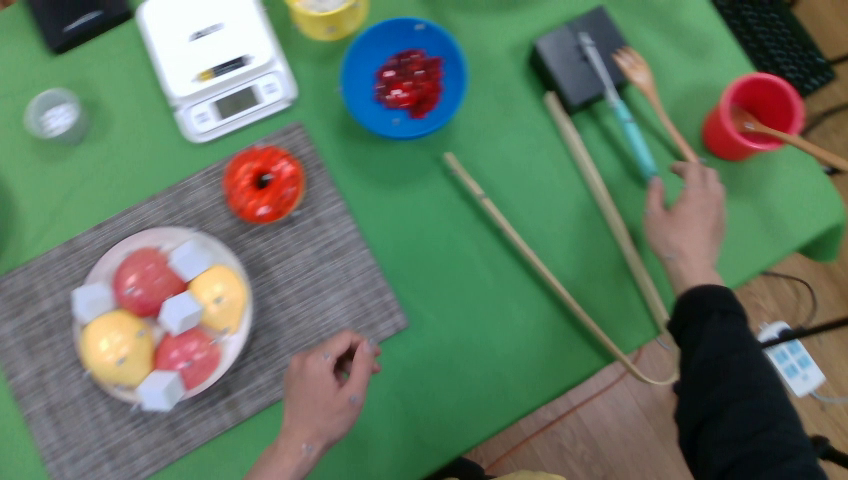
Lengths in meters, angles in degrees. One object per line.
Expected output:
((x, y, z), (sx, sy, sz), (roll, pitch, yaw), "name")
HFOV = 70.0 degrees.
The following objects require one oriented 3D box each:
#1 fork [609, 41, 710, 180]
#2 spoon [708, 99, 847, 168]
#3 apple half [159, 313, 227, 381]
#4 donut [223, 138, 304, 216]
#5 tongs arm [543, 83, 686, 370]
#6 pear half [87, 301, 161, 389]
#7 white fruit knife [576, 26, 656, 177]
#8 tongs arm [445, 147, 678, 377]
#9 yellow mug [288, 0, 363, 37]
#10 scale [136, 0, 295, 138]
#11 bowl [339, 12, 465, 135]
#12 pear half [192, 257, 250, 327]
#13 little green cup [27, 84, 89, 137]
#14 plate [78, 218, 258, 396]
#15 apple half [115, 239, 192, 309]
((0.299, -0.160, 0.759), (0.028, 0.018, 0.208), (-38, 99, -9), "fork")
((0.417, -0.127, 0.715), (0.041, 0.022, 0.191), (-34, 39, -6), "spoon")
((-0.277, 0.125, 0.708), (0.081, 0.033, 0.081), (0, 75, 2), "apple half")
((-0.197, -0.077, 0.746), (0.099, 0.048, 0.099), (0, 83, 1), "donut")
((0.235, -0.023, 0.755), (0.028, 0.028, 0.386), (-23, 83, -11), "tongs arm")
((-0.338, 0.124, 0.695), (0.076, 0.056, 0.109), (-35, 87, -14), "pear half")
((0.237, -0.170, 0.752), (0.016, 0.027, 0.208), (-31, 97, -5), "white fruit knife")
((0.165, 0.022, 0.744), (0.051, 0.026, 0.384), (-38, 85, -9), "tongs arm")
((-0.145, -0.330, 0.778), (0.130, 0.064, 0.100), (28, 82, 4), "yellow mug")
((-0.269, -0.245, 0.781), (0.149, 0.031, 0.200), (-25, 83, -4), "scale")
((-0.026, -0.194, 0.753), (0.151, 0.077, 0.151), (0, 82, -1), "bowl")
((-0.246, 0.063, 0.721), (0.070, 0.031, 0.087), (-28, 80, 9), "pear half")
((-0.458, -0.160, 0.762), (0.061, 0.039, 0.061), (0, 81, 0), "little green cup")
((-0.299, 0.079, 0.724), (0.209, 0.038, 0.208), (0, 81, -1), "plate")
((-0.324, 0.040, 0.712), (0.074, 0.053, 0.080), (-41, 87, -4), "apple half")
